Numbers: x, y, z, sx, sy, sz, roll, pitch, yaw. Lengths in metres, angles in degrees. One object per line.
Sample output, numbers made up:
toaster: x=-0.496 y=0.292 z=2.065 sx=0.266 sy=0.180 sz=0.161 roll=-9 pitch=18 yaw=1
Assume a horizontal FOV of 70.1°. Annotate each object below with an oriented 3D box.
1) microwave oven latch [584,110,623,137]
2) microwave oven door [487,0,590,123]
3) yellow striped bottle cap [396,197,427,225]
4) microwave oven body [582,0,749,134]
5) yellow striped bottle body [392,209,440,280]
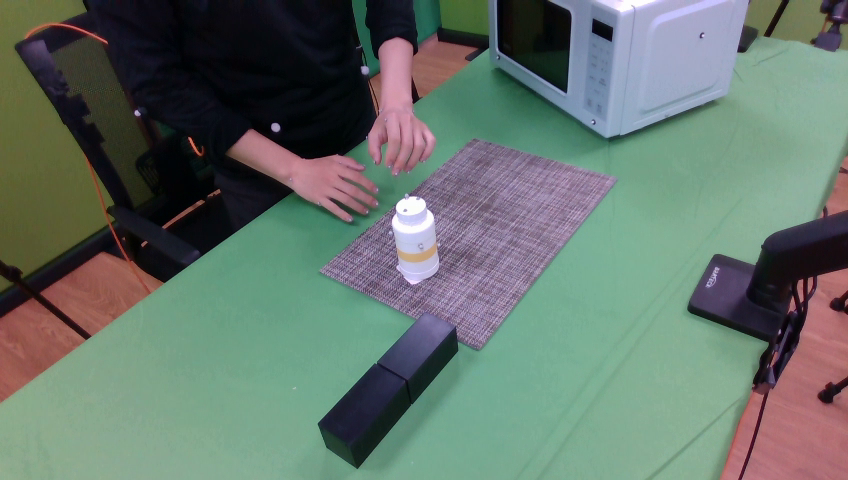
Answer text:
microwave oven latch: x=0.337 y=-0.222 z=1.142 sx=0.030 sy=0.029 sz=0.078 roll=-21 pitch=42 yaw=-14
microwave oven door: x=0.231 y=-0.420 z=1.230 sx=0.039 sy=0.245 sz=0.352 roll=-22 pitch=43 yaw=-16
yellow striped bottle cap: x=-0.018 y=-0.042 z=0.858 sx=0.044 sy=0.019 sz=0.044 roll=-5 pitch=38 yaw=5
microwave oven body: x=0.382 y=-0.444 z=1.246 sx=0.327 sy=0.261 sz=0.437 roll=-22 pitch=42 yaw=-16
yellow striped bottle body: x=-0.013 y=-0.003 z=0.892 sx=0.063 sy=0.121 sz=0.062 roll=-4 pitch=41 yaw=4
